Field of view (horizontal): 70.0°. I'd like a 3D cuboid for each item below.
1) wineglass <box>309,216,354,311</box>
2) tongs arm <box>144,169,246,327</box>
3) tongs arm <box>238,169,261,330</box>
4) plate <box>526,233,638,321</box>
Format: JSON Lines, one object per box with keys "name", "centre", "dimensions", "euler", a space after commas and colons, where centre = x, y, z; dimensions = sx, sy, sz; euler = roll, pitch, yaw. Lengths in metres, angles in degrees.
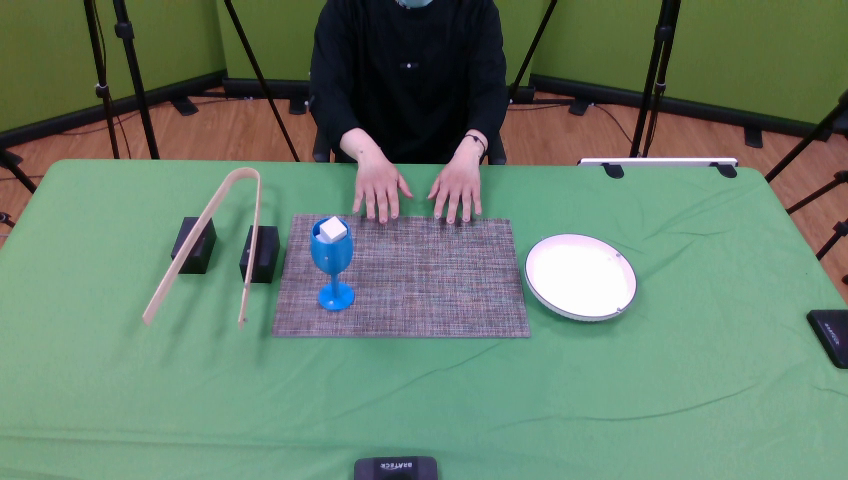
{"name": "wineglass", "centre": [-0.155, 0.043, 1.032], "dimensions": [0.074, 0.173, 0.073], "euler": [2, 46, -2]}
{"name": "tongs arm", "centre": [-0.409, -0.002, 1.100], "dimensions": [0.028, 0.028, 0.385], "euler": [5, 45, 9]}
{"name": "tongs arm", "centre": [-0.329, 0.001, 1.102], "dimensions": [0.051, 0.026, 0.382], "euler": [-2, 46, -3]}
{"name": "plate", "centre": [0.292, 0.071, 1.135], "dimensions": [0.209, 0.038, 0.208], "euler": [2, 46, -2]}
